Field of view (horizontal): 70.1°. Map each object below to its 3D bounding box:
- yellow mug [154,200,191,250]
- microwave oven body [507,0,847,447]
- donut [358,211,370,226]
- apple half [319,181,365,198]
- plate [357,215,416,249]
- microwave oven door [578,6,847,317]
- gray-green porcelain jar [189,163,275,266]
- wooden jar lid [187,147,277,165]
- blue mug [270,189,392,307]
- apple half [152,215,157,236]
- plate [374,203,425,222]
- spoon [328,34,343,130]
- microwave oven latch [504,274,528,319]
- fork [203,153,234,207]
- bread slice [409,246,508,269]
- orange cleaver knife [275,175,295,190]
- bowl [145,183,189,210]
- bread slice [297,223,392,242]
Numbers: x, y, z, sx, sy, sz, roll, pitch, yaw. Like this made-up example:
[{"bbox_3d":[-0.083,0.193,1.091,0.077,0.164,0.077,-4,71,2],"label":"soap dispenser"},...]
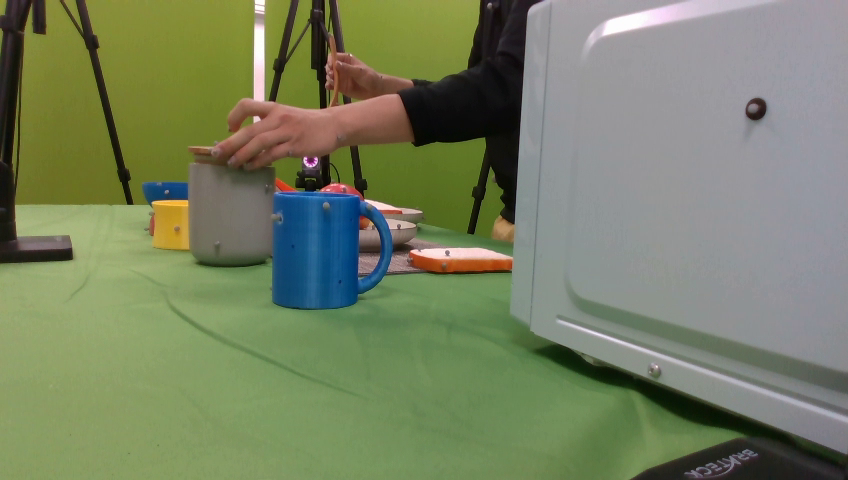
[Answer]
[{"bbox_3d":[-0.337,-0.023,0.899,0.130,0.064,0.100,8,10,35],"label":"yellow mug"},{"bbox_3d":[0.331,-0.042,0.425,0.444,0.260,0.324,-2,8,-31],"label":"microwave oven body"},{"bbox_3d":[-0.132,-0.042,0.959,0.099,0.048,0.099,2,8,0],"label":"donut"},{"bbox_3d":[-0.130,-0.077,0.952,0.081,0.033,0.081,3,14,0],"label":"apple half"},{"bbox_3d":[-0.116,-0.014,0.967,0.208,0.039,0.207,2,8,0],"label":"plate"},{"bbox_3d":[0.294,-0.067,0.570,0.358,0.243,0.039,-3,9,-31],"label":"microwave oven door"},{"bbox_3d":[-0.246,-0.034,0.780,0.106,0.126,0.106,2,7,0],"label":"gray-green porcelain jar"},{"bbox_3d":[-0.240,-0.107,0.764,0.108,0.020,0.108,3,11,0],"label":"wooden jar lid"},{"bbox_3d":[-0.090,0.005,0.588,0.117,0.106,0.082,1,7,-10],"label":"blue mug"},{"bbox_3d":[-0.415,-0.034,1.017,0.081,0.053,0.074,1,10,-9],"label":"apple half"},{"bbox_3d":[-0.102,-0.053,1.299,0.209,0.038,0.209,2,8,0],"label":"plate"},{"bbox_3d":[-0.176,-0.311,1.189,0.021,0.193,0.042,-2,-3,28],"label":"spoon"},{"bbox_3d":[0.100,0.041,0.471,0.079,0.029,0.030,-1,7,-27],"label":"microwave oven latch"},{"bbox_3d":[-0.480,-0.134,1.411,0.028,0.018,0.207,1,-35,0],"label":"fork"},{"bbox_3d":[0.047,0.022,0.816,0.132,0.019,0.104,0,7,-24],"label":"bread slice"},{"bbox_3d":[-0.283,-0.087,1.343,0.212,0.077,0.012,24,-16,-41],"label":"orange cleaver knife"},{"bbox_3d":[-0.459,-0.069,1.175,0.151,0.077,0.151,3,7,0],"label":"bowl"},{"bbox_3d":[-0.120,-0.014,0.970,0.106,0.018,0.135,8,10,41],"label":"bread slice"}]
